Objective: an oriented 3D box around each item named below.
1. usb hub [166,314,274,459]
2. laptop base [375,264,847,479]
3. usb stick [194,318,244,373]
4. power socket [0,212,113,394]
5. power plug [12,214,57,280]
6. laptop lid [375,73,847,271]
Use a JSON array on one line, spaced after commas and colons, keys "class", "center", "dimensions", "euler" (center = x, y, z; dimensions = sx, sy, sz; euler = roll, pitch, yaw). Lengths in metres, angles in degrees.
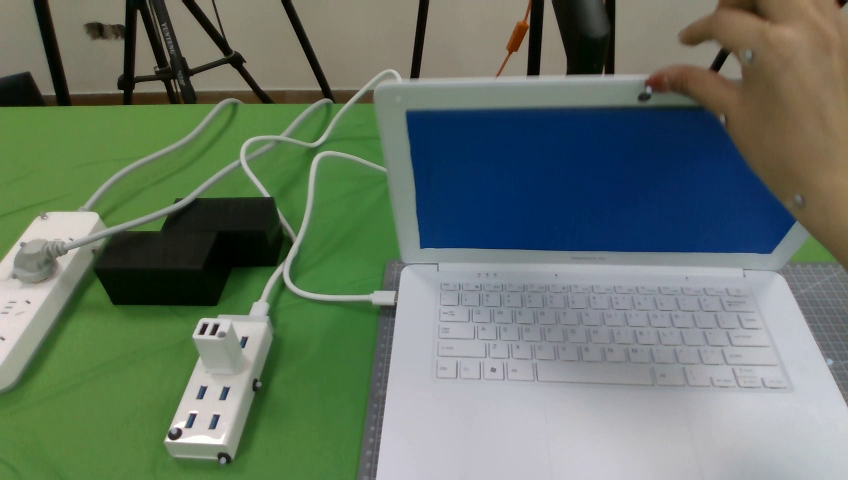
[{"class": "usb hub", "center": [-0.163, 0.115, 0.497], "dimensions": [0.049, 0.025, 0.124], "euler": [1, 42, 5]}, {"class": "laptop base", "center": [0.147, 0.111, 0.492], "dimensions": [0.354, 0.023, 0.233], "euler": [1, 46, 3]}, {"class": "usb stick", "center": [-0.160, 0.089, 0.482], "dimensions": [0.027, 0.060, 0.021], "euler": [0, 42, 5]}, {"class": "power socket", "center": [-0.372, 0.050, 0.571], "dimensions": [0.072, 0.033, 0.224], "euler": [2, 42, 3]}, {"class": "power plug", "center": [-0.368, 0.012, 0.580], "dimensions": [0.035, 0.053, 0.072], "euler": [-3, 34, -15]}, {"class": "laptop lid", "center": [0.148, -0.039, 0.477], "dimensions": [0.356, 0.244, 0.013], "euler": [0, 56, 5]}]
